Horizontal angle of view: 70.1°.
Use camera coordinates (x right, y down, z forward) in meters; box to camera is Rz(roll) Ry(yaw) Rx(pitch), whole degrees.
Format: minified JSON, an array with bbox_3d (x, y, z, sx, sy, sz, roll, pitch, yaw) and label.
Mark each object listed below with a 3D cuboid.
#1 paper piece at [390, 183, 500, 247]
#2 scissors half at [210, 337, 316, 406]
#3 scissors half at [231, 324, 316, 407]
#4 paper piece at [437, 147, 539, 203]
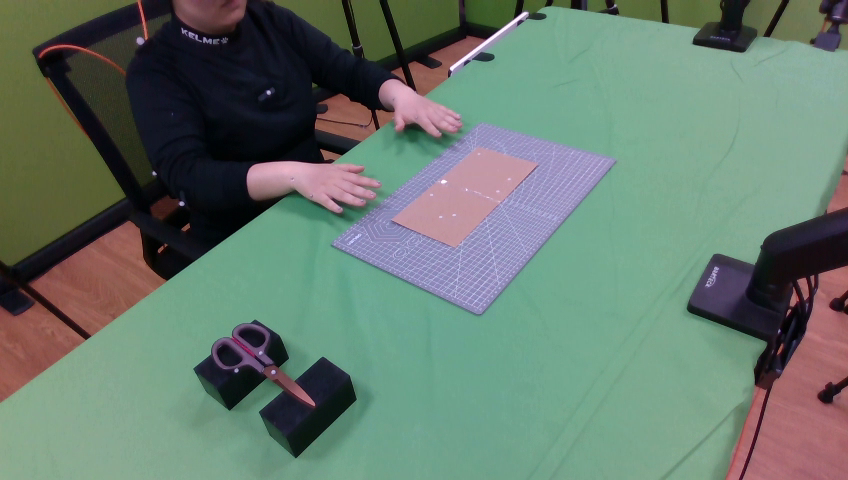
[{"bbox_3d":[0.037,-0.048,1.027,0.134,0.004,0.136,24,48,30],"label":"paper piece"},{"bbox_3d":[-0.198,0.163,0.736,0.174,0.013,0.040,20,41,25],"label":"scissors half"},{"bbox_3d":[-0.185,0.153,0.748,0.040,0.013,0.173,-32,48,-28],"label":"scissors half"},{"bbox_3d":[0.117,-0.122,1.104,0.135,0.009,0.138,26,49,29],"label":"paper piece"}]
